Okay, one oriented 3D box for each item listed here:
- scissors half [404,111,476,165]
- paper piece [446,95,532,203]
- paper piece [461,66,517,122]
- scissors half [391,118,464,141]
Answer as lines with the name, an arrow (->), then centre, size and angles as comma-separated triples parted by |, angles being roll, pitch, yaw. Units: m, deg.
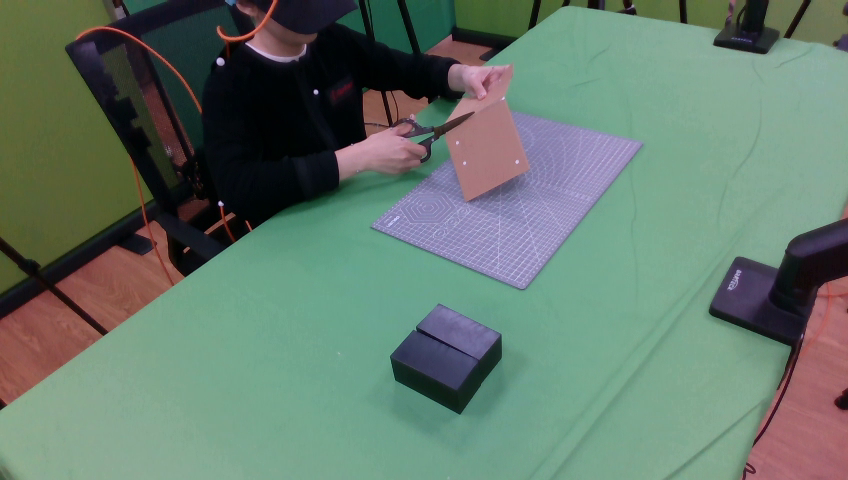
scissors half -> 0.030, -0.185, 1.095 | 0.174, 0.040, 0.013 | -34, 22, 36
paper piece -> 0.106, -0.152, 1.032 | 0.009, 0.135, 0.137 | -4, 72, -49
paper piece -> 0.108, -0.253, 1.098 | 0.135, 0.004, 0.135 | -32, 22, 38
scissors half -> 0.019, -0.203, 1.086 | 0.174, 0.040, 0.013 | -1, 33, 21
